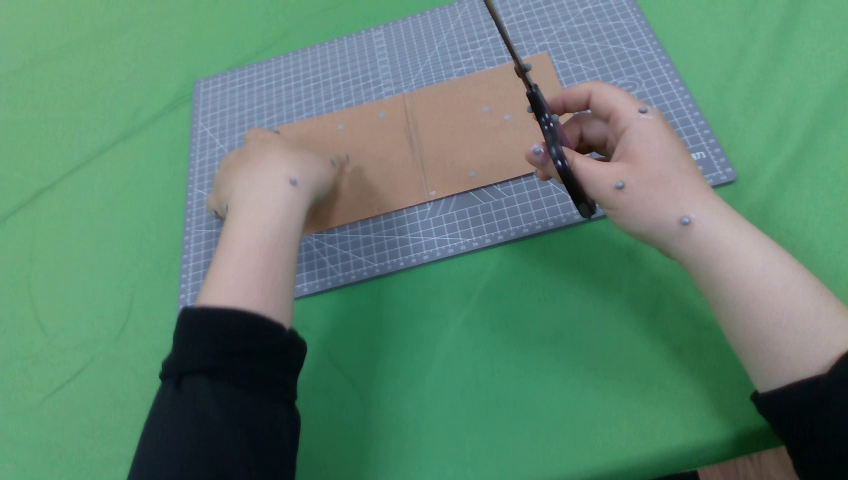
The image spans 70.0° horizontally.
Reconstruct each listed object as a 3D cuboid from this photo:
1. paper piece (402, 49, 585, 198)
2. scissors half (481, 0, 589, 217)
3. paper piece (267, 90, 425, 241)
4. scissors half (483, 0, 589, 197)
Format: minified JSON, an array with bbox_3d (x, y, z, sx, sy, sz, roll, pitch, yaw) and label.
[{"bbox_3d":[0.054,-0.106,0.527,0.135,0.004,0.134,-15,56,6],"label":"paper piece"},{"bbox_3d":[0.062,-0.091,0.367,0.013,0.176,0.040,-24,11,19],"label":"scissors half"},{"bbox_3d":[-0.074,-0.071,0.540,0.138,0.009,0.134,-15,54,6],"label":"paper piece"},{"bbox_3d":[0.066,-0.100,0.384,0.013,0.176,0.039,-22,26,24],"label":"scissors half"}]
